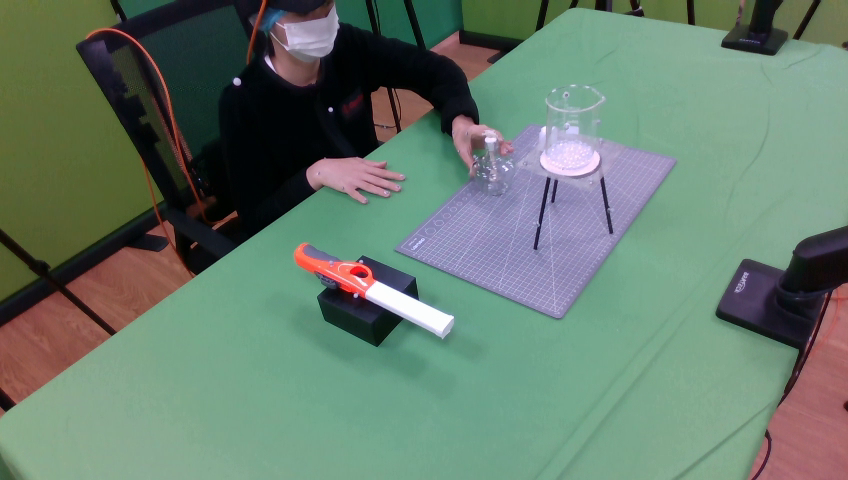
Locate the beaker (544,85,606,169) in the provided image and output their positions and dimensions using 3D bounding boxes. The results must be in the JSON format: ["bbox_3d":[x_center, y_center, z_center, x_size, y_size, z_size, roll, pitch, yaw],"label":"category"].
[{"bbox_3d":[0.212,-0.158,0.861,0.084,0.101,0.073,-3,41,6],"label":"beaker"}]

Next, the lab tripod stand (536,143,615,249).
[{"bbox_3d":[0.224,-0.069,0.931,0.148,0.132,0.147,-4,42,4],"label":"lab tripod stand"}]

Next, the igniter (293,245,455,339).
[{"bbox_3d":[-0.079,0.066,0.834,0.274,0.025,0.057,23,48,27],"label":"igniter"}]

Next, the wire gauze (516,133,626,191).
[{"bbox_3d":[0.217,-0.122,0.893,0.124,0.011,0.122,20,47,32],"label":"wire gauze"}]

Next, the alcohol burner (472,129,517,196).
[{"bbox_3d":[0.120,-0.136,1.044,0.078,0.119,0.077,-6,39,6],"label":"alcohol burner"}]

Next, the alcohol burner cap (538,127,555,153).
[{"bbox_3d":[0.234,-0.191,1.147,0.034,0.048,0.033,-5,40,5],"label":"alcohol burner cap"}]
